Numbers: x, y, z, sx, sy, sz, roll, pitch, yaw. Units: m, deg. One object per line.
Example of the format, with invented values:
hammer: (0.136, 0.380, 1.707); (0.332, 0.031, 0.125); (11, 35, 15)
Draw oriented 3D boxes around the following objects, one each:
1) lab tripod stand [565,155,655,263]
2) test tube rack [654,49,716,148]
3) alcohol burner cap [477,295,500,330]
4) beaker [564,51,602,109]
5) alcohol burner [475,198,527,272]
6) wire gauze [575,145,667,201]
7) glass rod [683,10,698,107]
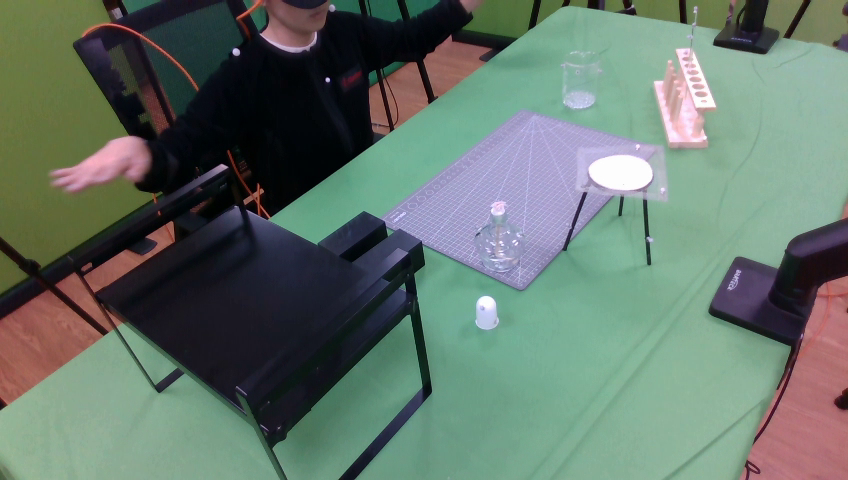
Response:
lab tripod stand: (0.285, -0.046, 0.901); (0.148, 0.132, 0.147); (-5, 42, 5)
test tube rack: (0.502, -0.281, 1.176); (0.066, 0.085, 0.241); (2, 42, 11)
alcohol burner cap: (0.089, 0.097, 0.833); (0.034, 0.048, 0.033); (-4, 42, 4)
beaker: (0.326, -0.330, 1.250); (0.074, 0.101, 0.084); (4, 41, 13)
alcohol burner: (0.113, -0.012, 0.897); (0.078, 0.119, 0.077); (-6, 40, 6)
wire gauze: (0.279, -0.100, 0.861); (0.124, 0.011, 0.121); (5, 43, 14)
glass rod: (0.501, -0.336, 1.139); (0.008, 0.201, 0.008); (-8, 43, 8)
